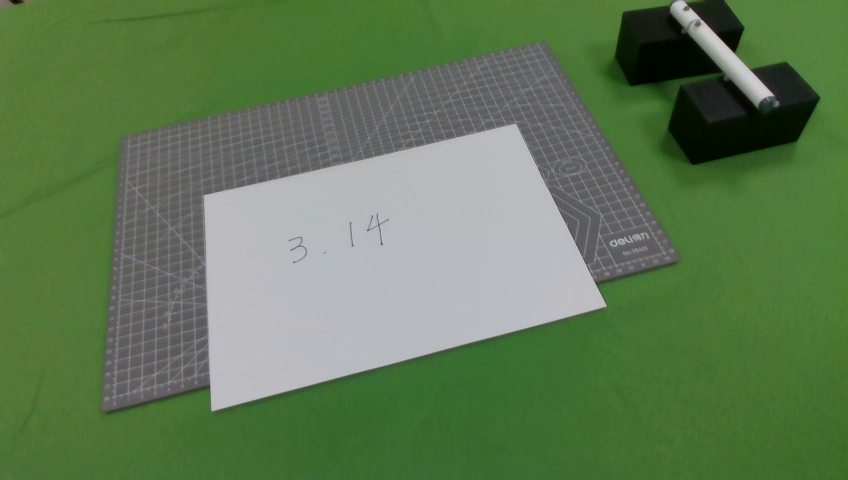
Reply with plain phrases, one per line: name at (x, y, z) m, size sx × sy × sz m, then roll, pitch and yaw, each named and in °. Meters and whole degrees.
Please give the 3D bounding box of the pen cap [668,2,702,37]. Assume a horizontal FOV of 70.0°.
pen cap at (0.243, -0.207, 0.567) m, size 0.017 × 0.017 × 0.038 m, roll -16°, pitch 55°, yaw -6°

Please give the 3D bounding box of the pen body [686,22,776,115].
pen body at (0.259, -0.159, 0.531) m, size 0.017 × 0.017 × 0.142 m, roll -15°, pitch 54°, yaw -5°
